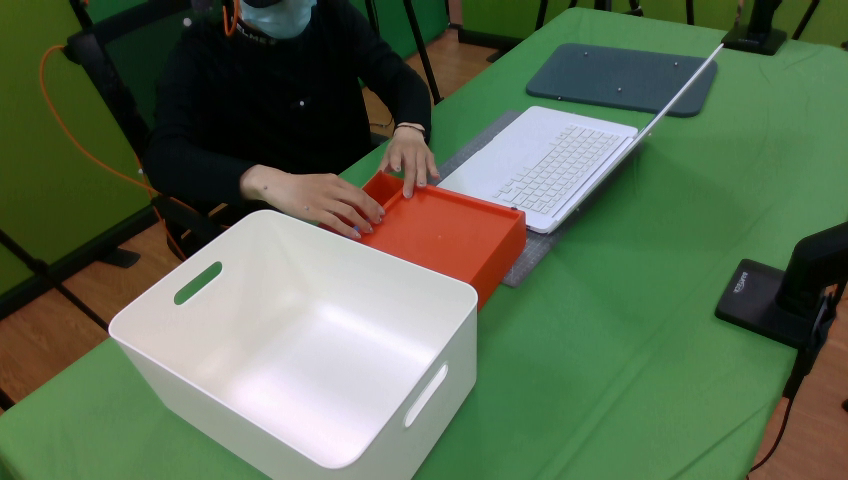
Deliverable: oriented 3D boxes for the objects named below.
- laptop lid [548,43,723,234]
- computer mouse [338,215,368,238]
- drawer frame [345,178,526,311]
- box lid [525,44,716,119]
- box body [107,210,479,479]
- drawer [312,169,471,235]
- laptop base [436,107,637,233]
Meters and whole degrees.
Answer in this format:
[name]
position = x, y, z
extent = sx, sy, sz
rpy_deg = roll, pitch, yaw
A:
[laptop lid]
position = 0.336, -0.160, 0.956
extent = 0.013, 0.241, 0.358
rpy_deg = 43, 54, 8
[computer mouse]
position = -0.079, -0.018, 0.963
extent = 0.062, 0.041, 0.118
rpy_deg = 16, 32, 42
[drawer frame]
position = 0.015, 0.010, 0.909
extent = 0.212, 0.083, 0.202
rpy_deg = 19, 47, 27
[box lid]
position = 0.432, -0.360, 1.341
extent = 0.369, 0.015, 0.263
rpy_deg = 16, 45, 24
[box body]
position = -0.140, 0.136, 0.725
extent = 0.361, 0.161, 0.254
rpy_deg = 19, 47, 28
[drawer]
position = -0.043, -0.009, 0.942
extent = 0.210, 0.073, 0.195
rpy_deg = 21, 48, 28
[laptop base]
position = 0.210, -0.142, 1.111
extent = 0.233, 0.023, 0.355
rpy_deg = 21, 47, 34
